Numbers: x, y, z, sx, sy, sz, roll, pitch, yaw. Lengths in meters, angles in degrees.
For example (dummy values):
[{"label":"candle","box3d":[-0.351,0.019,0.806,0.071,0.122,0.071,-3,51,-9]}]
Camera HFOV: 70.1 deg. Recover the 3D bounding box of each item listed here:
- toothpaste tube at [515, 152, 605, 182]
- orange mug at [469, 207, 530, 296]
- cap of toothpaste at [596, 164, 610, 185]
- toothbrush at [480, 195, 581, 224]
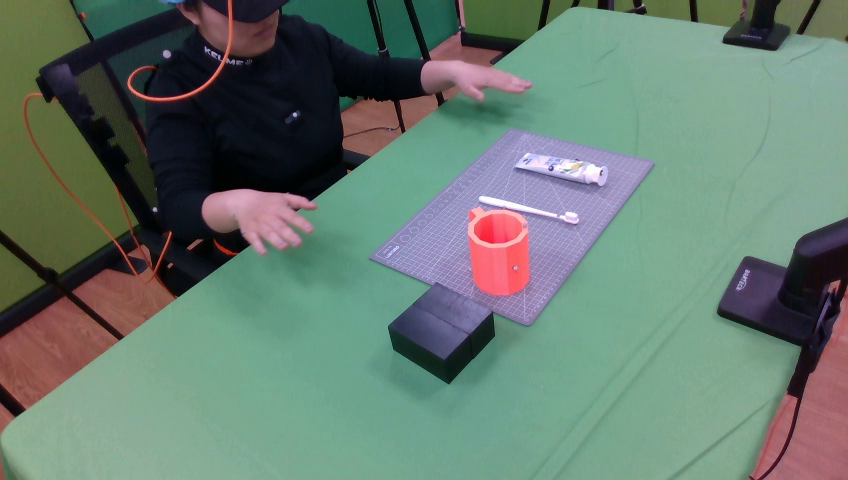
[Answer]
[{"label":"toothpaste tube","box3d":[0.248,-0.133,1.087,0.164,0.034,0.055,17,42,34]},{"label":"orange mug","box3d":[0.104,0.008,0.894,0.084,0.101,0.125,-22,46,-14]},{"label":"cap of toothpaste","box3d":[0.307,-0.113,1.041,0.011,0.037,0.037,20,48,39]},{"label":"toothbrush","box3d":[0.175,-0.054,1.016,0.180,0.017,0.014,15,59,29]}]
